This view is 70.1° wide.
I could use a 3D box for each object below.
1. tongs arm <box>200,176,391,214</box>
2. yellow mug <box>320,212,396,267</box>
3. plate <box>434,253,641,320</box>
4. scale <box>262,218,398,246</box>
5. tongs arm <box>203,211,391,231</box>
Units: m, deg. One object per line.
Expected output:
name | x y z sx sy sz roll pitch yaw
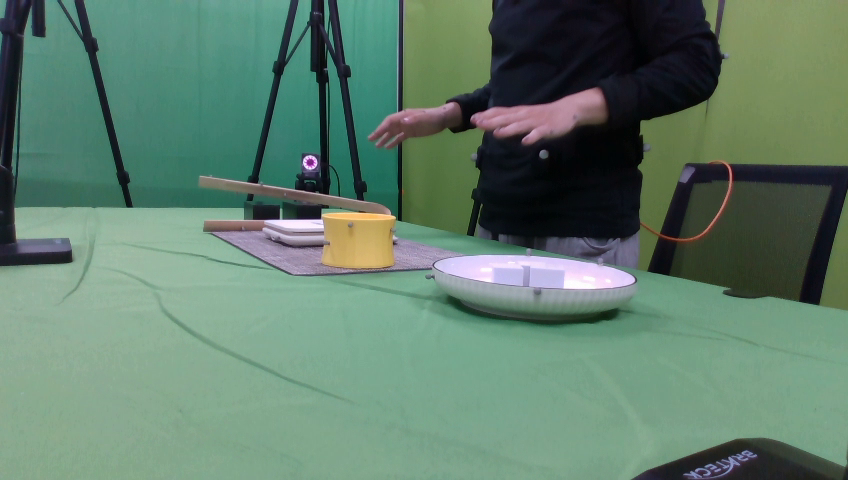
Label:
tongs arm | -0.258 -0.084 1.245 0.387 0.026 0.050 6 32 -22
yellow mug | -0.089 -0.004 0.825 0.100 0.064 0.131 2 6 -2
plate | 0.114 0.047 0.625 0.208 0.039 0.207 2 7 0
scale | -0.160 -0.016 1.028 0.202 0.031 0.148 -2 9 -31
tongs arm | -0.231 -0.036 1.185 0.390 0.028 0.028 -3 33 -33
